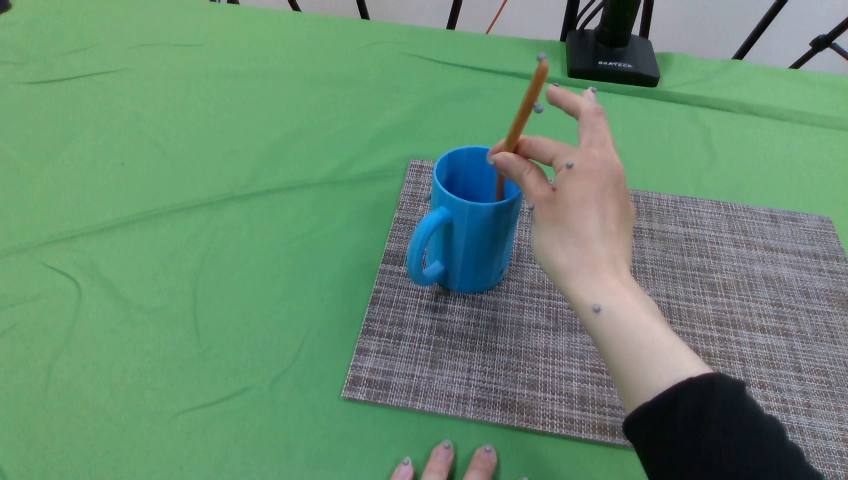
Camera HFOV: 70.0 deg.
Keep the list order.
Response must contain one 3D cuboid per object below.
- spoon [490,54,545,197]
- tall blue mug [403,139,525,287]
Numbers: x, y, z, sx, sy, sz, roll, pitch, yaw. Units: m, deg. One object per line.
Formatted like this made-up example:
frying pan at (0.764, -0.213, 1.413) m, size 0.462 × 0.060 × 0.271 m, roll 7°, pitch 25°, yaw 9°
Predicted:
spoon at (0.059, -0.058, 0.461) m, size 0.021 × 0.195 × 0.041 m, roll 9°, pitch 53°, yaw 1°
tall blue mug at (0.035, -0.012, 0.516) m, size 0.077 × 0.109 × 0.106 m, roll 15°, pitch 48°, yaw 9°
